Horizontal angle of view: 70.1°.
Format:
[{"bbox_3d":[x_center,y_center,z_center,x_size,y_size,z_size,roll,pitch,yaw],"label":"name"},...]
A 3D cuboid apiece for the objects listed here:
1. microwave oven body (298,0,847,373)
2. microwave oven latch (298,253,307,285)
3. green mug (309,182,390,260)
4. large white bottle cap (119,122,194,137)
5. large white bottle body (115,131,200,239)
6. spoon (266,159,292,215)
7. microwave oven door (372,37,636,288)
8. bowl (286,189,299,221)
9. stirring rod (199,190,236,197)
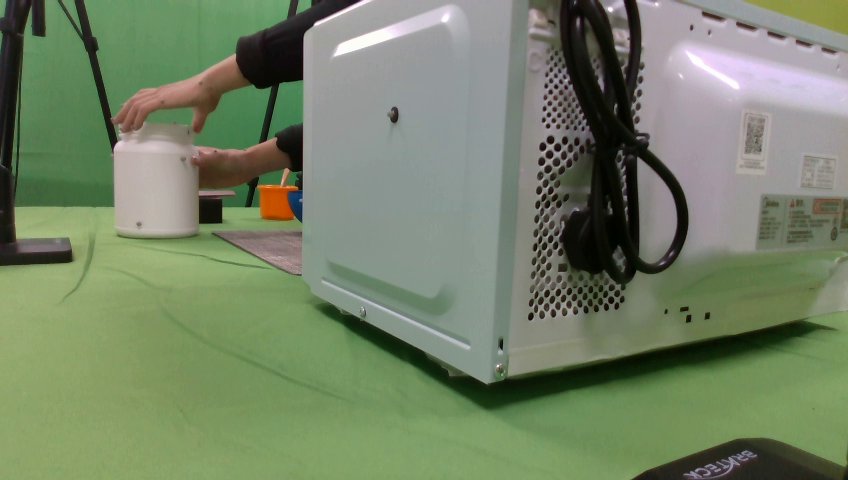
[{"bbox_3d":[0.151,-0.055,0.542,0.444,0.260,0.324,-2,7,-33],"label":"microwave oven body"},{"bbox_3d":[-0.082,0.027,0.583,0.079,0.029,0.030,-2,7,-33],"label":"microwave oven latch"},{"bbox_3d":[-0.102,-0.029,0.864,0.126,0.105,0.092,-3,8,-40],"label":"green mug"},{"bbox_3d":[-0.445,-0.184,1.010,0.115,0.018,0.115,2,7,0],"label":"large white bottle cap"},{"bbox_3d":[-0.448,-0.099,1.020,0.131,0.184,0.130,2,7,0],"label":"large white bottle body"},{"bbox_3d":[-0.334,-0.127,1.424,0.041,0.193,0.021,1,-38,6],"label":"spoon"},{"bbox_3d":[0.109,-0.080,0.687,0.358,0.243,0.039,-2,9,-33],"label":"microwave oven door"},{"bbox_3d":[-0.179,-0.051,1.115,0.151,0.077,0.151,2,8,0],"label":"bowl"},{"bbox_3d":[-0.465,-0.098,1.283,0.014,0.006,0.177,42,21,17],"label":"stirring rod"}]
